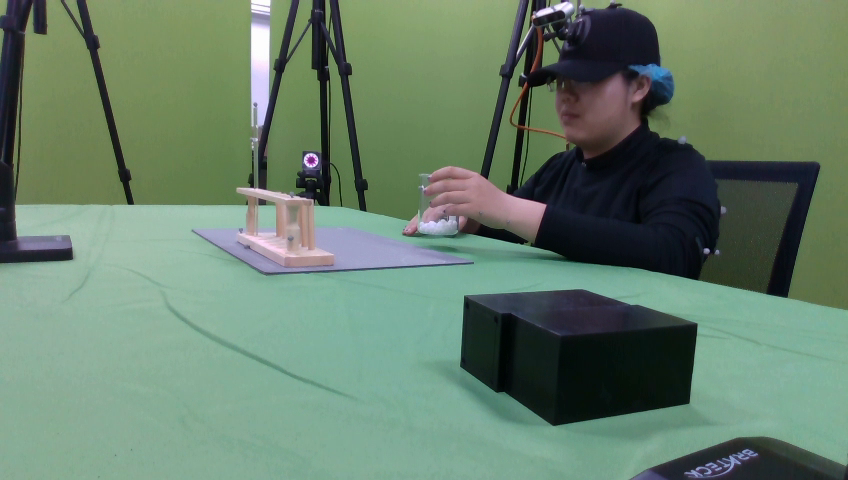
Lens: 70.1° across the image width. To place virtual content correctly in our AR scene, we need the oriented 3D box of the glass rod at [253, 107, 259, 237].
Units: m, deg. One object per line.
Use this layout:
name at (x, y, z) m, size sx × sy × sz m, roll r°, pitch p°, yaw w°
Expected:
glass rod at (-0.253, -0.101, 0.912) m, size 0.008 × 0.199 × 0.008 m, roll 1°, pitch 3°, yaw 0°

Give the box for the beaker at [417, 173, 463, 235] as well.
beaker at (0.028, -0.060, 1.007) m, size 0.083 × 0.100 × 0.074 m, roll 7°, pitch 8°, yaw 37°

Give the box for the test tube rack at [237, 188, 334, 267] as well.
test tube rack at (-0.202, -0.024, 0.855) m, size 0.067 × 0.085 × 0.241 m, roll -2°, pitch 8°, yaw -30°
